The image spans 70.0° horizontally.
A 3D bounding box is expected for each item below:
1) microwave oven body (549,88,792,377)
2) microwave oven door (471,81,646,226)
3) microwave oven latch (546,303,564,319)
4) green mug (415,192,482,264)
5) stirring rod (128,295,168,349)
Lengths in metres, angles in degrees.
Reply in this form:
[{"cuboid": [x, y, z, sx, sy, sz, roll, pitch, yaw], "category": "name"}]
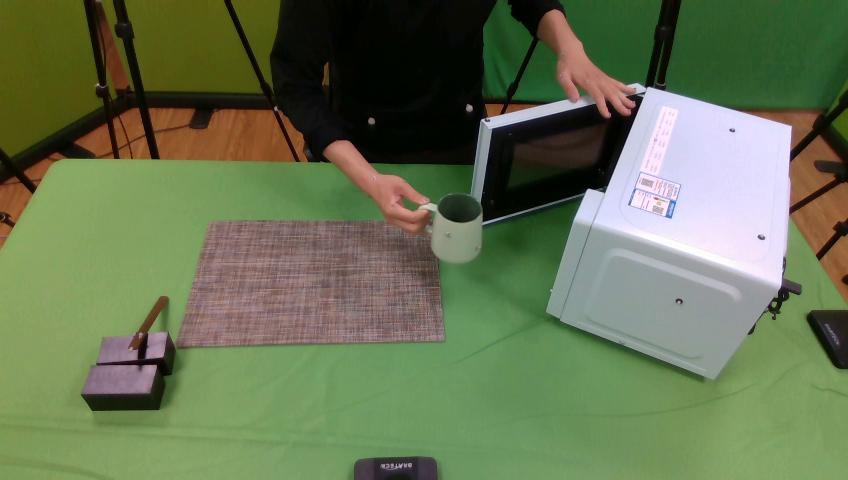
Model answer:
[{"cuboid": [0.456, -0.028, 1.088, 0.325, 0.261, 0.440, 20, 47, 16], "category": "microwave oven body"}, {"cuboid": [0.262, -0.169, 1.201, 0.356, 0.245, 0.039, -17, 49, -19], "category": "microwave oven door"}, {"cuboid": [0.242, 0.102, 1.081, 0.030, 0.029, 0.079, 22, 48, 17], "category": "microwave oven latch"}, {"cuboid": [0.042, -0.025, 1.064, 0.125, 0.105, 0.092, 18, 48, 15], "category": "green mug"}, {"cuboid": [-0.451, 0.131, 0.996, 0.014, 0.006, 0.175, 9, 21, -10], "category": "stirring rod"}]
